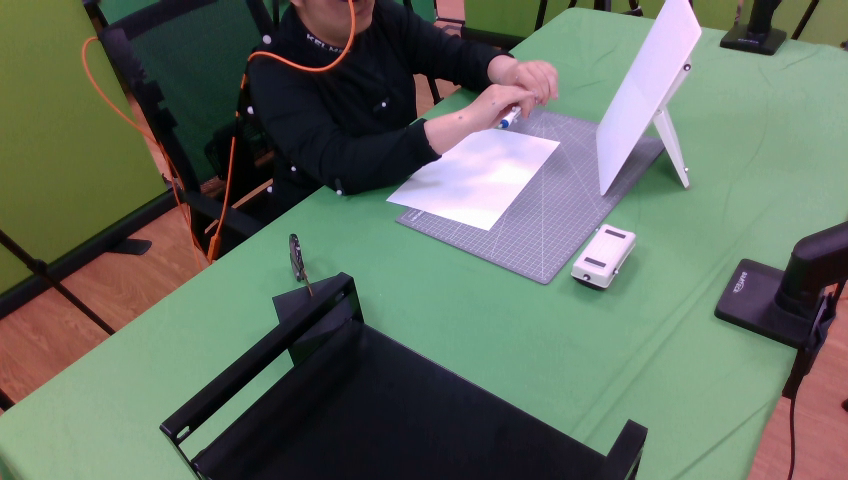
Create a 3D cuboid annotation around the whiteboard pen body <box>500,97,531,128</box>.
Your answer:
[{"bbox_3d":[0.165,-0.226,1.052,0.017,0.017,0.141,15,38,24],"label":"whiteboard pen body"}]

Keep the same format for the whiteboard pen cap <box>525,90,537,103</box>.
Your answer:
[{"bbox_3d":[0.192,-0.257,1.093,0.018,0.018,0.033,13,44,23],"label":"whiteboard pen cap"}]

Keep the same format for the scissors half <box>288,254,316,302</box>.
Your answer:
[{"bbox_3d":[-0.178,0.058,0.894,0.013,0.040,0.174,-16,20,-18],"label":"scissors half"}]

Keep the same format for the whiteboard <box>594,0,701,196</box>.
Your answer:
[{"bbox_3d":[0.420,-0.227,1.010,0.144,0.305,0.216,18,42,-2],"label":"whiteboard"}]

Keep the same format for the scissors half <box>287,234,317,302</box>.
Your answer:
[{"bbox_3d":[-0.179,0.040,0.885,0.013,0.040,0.173,-11,36,-21],"label":"scissors half"}]

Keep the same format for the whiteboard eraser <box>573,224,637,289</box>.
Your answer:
[{"bbox_3d":[0.267,0.025,0.891,0.055,0.042,0.113,19,47,31],"label":"whiteboard eraser"}]
